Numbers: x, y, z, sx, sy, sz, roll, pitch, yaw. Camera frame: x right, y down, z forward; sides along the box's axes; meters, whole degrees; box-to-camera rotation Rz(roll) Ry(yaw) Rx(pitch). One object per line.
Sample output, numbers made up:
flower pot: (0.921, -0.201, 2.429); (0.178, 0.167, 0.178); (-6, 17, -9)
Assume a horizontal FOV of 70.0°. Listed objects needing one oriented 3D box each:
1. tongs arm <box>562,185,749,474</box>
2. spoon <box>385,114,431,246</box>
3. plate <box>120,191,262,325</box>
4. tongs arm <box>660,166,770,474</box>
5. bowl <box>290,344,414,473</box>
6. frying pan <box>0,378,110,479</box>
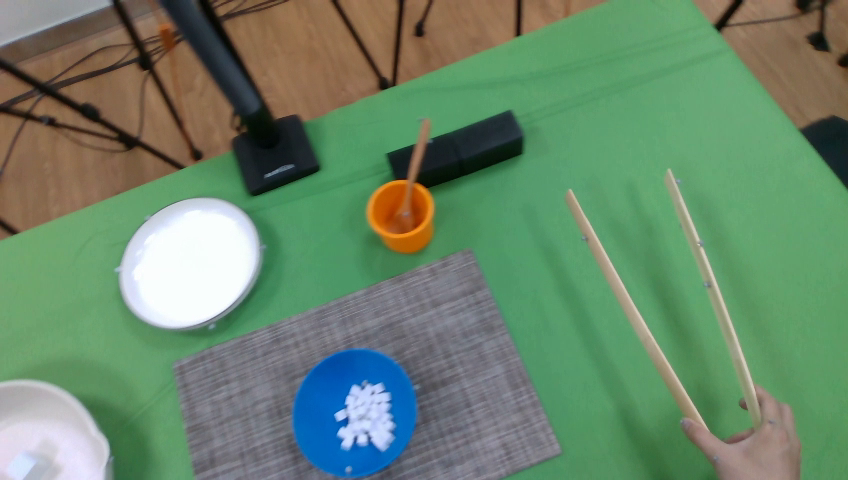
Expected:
tongs arm: (0.257, 0.091, 0.719); (0.028, 0.028, 0.384); (-16, 64, -15)
spoon: (-0.018, -0.080, 0.841); (0.041, 0.195, 0.021); (25, 27, 20)
plate: (-0.336, 0.028, 0.890); (0.207, 0.039, 0.206); (-2, 66, 6)
tongs arm: (0.332, 0.076, 0.729); (0.051, 0.027, 0.381); (-7, 63, -7)
bowl: (-0.082, 0.213, 0.754); (0.151, 0.077, 0.150); (-2, 66, 5)
frying pan: (-0.492, 0.403, 0.705); (0.307, 0.104, 0.482); (-23, 57, -3)
